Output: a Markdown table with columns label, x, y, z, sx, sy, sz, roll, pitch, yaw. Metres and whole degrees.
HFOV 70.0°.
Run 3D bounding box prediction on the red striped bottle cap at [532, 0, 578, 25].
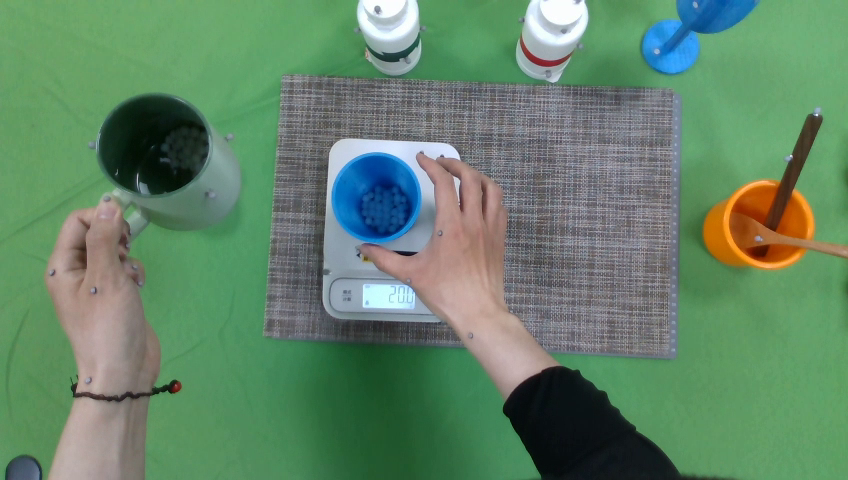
| label | x | y | z | sx | sy | sz | roll | pitch | yaw |
| --- | --- | --- | --- | --- | --- | --- | --- | --- | --- |
| red striped bottle cap | 0.127 | -0.233 | 0.587 | 0.044 | 0.018 | 0.044 | 0 | 83 | 2 |

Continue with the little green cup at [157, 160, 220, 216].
| label | x | y | z | sx | sy | sz | roll | pitch | yaw |
| --- | --- | --- | --- | --- | --- | --- | --- | --- | --- |
| little green cup | -0.260 | -0.055 | 0.676 | 0.061 | 0.038 | 0.061 | 0 | 85 | 0 |

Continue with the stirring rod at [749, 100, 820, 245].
| label | x | y | z | sx | sy | sz | roll | pitch | yaw |
| --- | --- | --- | --- | --- | --- | --- | --- | --- | --- |
| stirring rod | 0.359 | -0.061 | 0.608 | 0.014 | 0.178 | 0.006 | 11 | 45 | 17 |

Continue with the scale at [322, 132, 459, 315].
| label | x | y | z | sx | sy | sz | roll | pitch | yaw |
| --- | --- | --- | --- | --- | --- | --- | --- | --- | --- |
| scale | -0.038 | -0.018 | 0.669 | 0.148 | 0.031 | 0.200 | 1 | 86 | 2 |

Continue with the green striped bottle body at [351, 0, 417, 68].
| label | x | y | z | sx | sy | sz | roll | pitch | yaw |
| --- | --- | --- | --- | --- | --- | --- | --- | --- | --- |
| green striped bottle body | -0.041 | -0.233 | 0.644 | 0.063 | 0.119 | 0.063 | 0 | 85 | 2 |

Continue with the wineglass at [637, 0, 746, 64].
| label | x | y | z | sx | sy | sz | roll | pitch | yaw |
| --- | --- | --- | --- | --- | --- | --- | --- | --- | --- |
| wineglass | 0.274 | -0.241 | 0.611 | 0.074 | 0.172 | 0.073 | 0 | 85 | 2 |

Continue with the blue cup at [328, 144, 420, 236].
| label | x | y | z | sx | sy | sz | roll | pitch | yaw |
| --- | --- | --- | --- | --- | --- | --- | --- | --- | --- |
| blue cup | -0.045 | -0.044 | 0.606 | 0.092 | 0.100 | 0.092 | 0 | 88 | 1 |

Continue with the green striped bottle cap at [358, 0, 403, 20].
| label | x | y | z | sx | sy | sz | roll | pitch | yaw |
| --- | --- | --- | --- | --- | --- | --- | --- | --- | --- |
| green striped bottle cap | -0.043 | -0.239 | 0.589 | 0.044 | 0.020 | 0.044 | 0 | 85 | 2 |

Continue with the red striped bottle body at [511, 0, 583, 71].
| label | x | y | z | sx | sy | sz | roll | pitch | yaw |
| --- | --- | --- | --- | --- | --- | --- | --- | --- | --- |
| red striped bottle body | 0.129 | -0.229 | 0.640 | 0.063 | 0.120 | 0.063 | 0 | 85 | 1 |

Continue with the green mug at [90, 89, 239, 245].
| label | x | y | z | sx | sy | sz | roll | pitch | yaw |
| --- | --- | --- | --- | --- | --- | --- | --- | --- | --- |
| green mug | -0.208 | -0.049 | 0.473 | 0.092 | 0.105 | 0.125 | 35 | 78 | -3 |

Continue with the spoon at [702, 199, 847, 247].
| label | x | y | z | sx | sy | sz | roll | pitch | yaw |
| --- | --- | --- | --- | --- | --- | --- | --- | --- | --- |
| spoon | 0.375 | -0.008 | 0.604 | 0.022 | 0.192 | 0.041 | 13 | 94 | -41 |
